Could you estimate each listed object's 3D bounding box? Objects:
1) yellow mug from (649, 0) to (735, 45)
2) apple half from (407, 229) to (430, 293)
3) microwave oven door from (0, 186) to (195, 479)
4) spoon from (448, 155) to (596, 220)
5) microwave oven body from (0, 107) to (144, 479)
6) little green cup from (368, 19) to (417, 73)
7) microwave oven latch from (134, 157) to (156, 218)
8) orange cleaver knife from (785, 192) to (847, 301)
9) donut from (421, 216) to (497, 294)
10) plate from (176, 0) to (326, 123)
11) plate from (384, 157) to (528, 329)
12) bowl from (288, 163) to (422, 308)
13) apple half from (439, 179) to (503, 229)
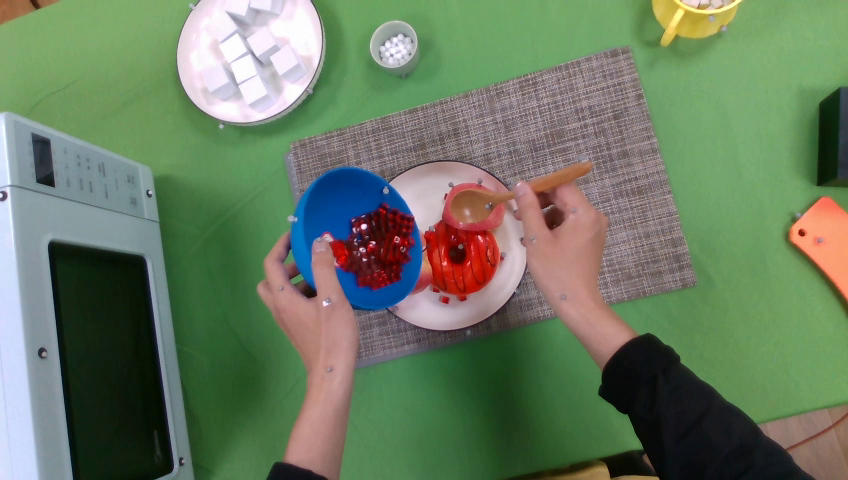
[{"bbox_3d":[0.311,-0.286,0.706,0.099,0.064,0.131,33,92,12],"label":"yellow mug"},{"bbox_3d":[-0.036,0.024,0.715,0.074,0.054,0.080,-19,77,49],"label":"apple half"},{"bbox_3d":[-0.357,0.134,0.673,0.039,0.245,0.354,-13,82,9],"label":"microwave oven door"},{"bbox_3d":[0.089,-0.050,0.593,0.021,0.193,0.042,-41,106,-31],"label":"spoon"},{"bbox_3d":[-0.505,0.124,0.706,0.326,0.261,0.440,-12,83,8],"label":"microwave oven body"},{"bbox_3d":[-0.038,-0.246,0.778,0.061,0.039,0.061,-1,83,11],"label":"little green cup"},{"bbox_3d":[-0.378,-0.068,0.802,0.030,0.029,0.079,-11,83,8],"label":"microwave oven latch"},{"bbox_3d":[0.481,0.046,0.664,0.077,0.012,0.210,-29,78,1],"label":"orange cleaver knife"},{"bbox_3d":[0.037,0.016,0.722,0.099,0.048,0.099,-1,84,8],"label":"donut"},{"bbox_3d":[-0.228,-0.255,0.813,0.207,0.039,0.207,-1,84,10],"label":"plate"},{"bbox_3d":[0.023,0.004,0.738,0.209,0.038,0.208,-1,84,10],"label":"plate"},{"bbox_3d":[-0.084,0.004,0.628,0.076,0.152,0.151,-22,78,44],"label":"bowl"},{"bbox_3d":[0.058,-0.049,0.710,0.081,0.033,0.080,1,45,0],"label":"apple half"}]
